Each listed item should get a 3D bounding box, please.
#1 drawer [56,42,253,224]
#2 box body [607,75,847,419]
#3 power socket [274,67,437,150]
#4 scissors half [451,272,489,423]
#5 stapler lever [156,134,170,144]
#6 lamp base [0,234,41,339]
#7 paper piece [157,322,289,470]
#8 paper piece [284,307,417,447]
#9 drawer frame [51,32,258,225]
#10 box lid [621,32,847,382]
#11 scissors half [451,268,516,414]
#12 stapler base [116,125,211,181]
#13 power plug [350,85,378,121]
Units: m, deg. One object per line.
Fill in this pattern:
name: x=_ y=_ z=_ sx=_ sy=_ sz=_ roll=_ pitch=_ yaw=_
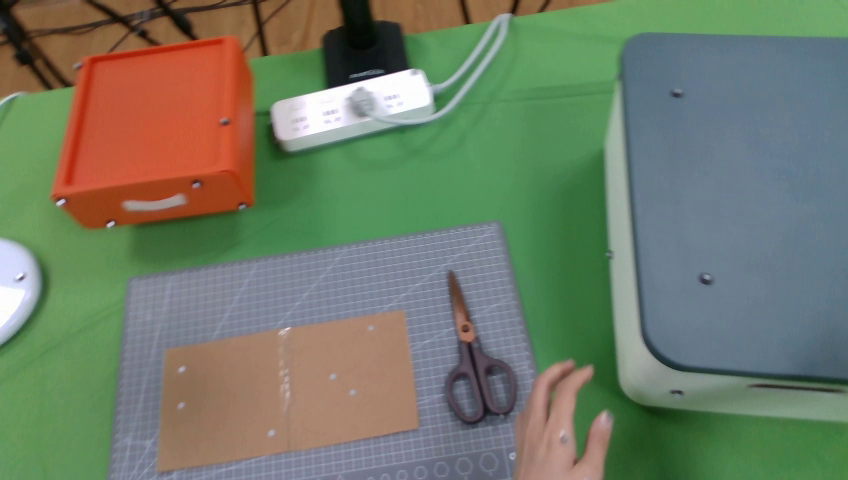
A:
drawer: x=-0.306 y=-0.131 z=0.721 sx=0.194 sy=0.074 sz=0.209 roll=-8 pitch=60 yaw=1
box body: x=0.325 y=-0.016 z=0.613 sx=0.254 sy=0.162 sz=0.361 roll=3 pitch=62 yaw=6
power socket: x=-0.091 y=-0.176 z=0.808 sx=0.227 sy=0.033 sz=0.071 roll=-14 pitch=62 yaw=-4
scissors half: x=0.042 y=0.110 z=0.657 sx=0.040 sy=0.013 sz=0.173 roll=-21 pitch=60 yaw=30
stapler lever: x=-0.327 y=-0.115 z=0.705 sx=0.117 sy=0.040 sz=0.027 roll=19 pitch=80 yaw=18
lamp base: x=-0.550 y=0.021 z=0.649 sx=0.178 sy=0.182 sz=0.160 roll=20 pitch=64 yaw=18
paper piece: x=-0.212 y=0.162 z=0.642 sx=0.136 sy=0.009 sz=0.137 roll=-10 pitch=62 yaw=2
paper piece: x=-0.081 y=0.141 z=0.643 sx=0.135 sy=0.004 sz=0.134 roll=-8 pitch=61 yaw=0
drawer frame: x=-0.308 y=-0.133 z=0.722 sx=0.202 sy=0.083 sz=0.211 roll=-8 pitch=60 yaw=0
box lid: x=0.319 y=-0.051 z=0.547 sx=0.263 sy=0.015 sz=0.368 roll=4 pitch=61 yaw=6
scissors half: x=0.059 y=0.102 z=0.649 sx=0.040 sy=0.013 sz=0.173 roll=-33 pitch=55 yaw=16
stapler base: x=-0.319 y=-0.109 z=0.730 sx=0.130 sy=0.024 sz=0.041 roll=19 pitch=80 yaw=17
power plug: x=-0.077 y=-0.166 z=0.774 sx=0.035 sy=0.053 sz=0.072 roll=-5 pitch=61 yaw=2
